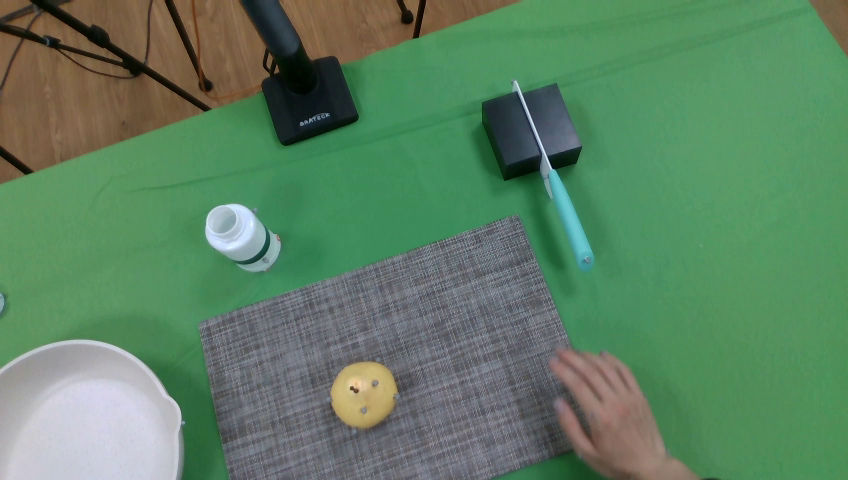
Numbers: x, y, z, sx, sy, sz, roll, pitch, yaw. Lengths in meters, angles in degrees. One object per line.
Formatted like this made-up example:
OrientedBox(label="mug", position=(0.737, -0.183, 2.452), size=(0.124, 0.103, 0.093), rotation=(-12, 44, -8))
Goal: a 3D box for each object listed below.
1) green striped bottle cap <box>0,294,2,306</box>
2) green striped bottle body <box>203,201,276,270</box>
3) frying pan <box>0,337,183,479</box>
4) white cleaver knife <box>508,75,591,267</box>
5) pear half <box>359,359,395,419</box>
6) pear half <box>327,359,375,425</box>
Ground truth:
OrientedBox(label="green striped bottle cap", position=(-0.604, 0.085, 0.828), size=(0.044, 0.020, 0.044), rotation=(-2, 72, 5))
OrientedBox(label="green striped bottle body", position=(-0.238, -0.007, 0.775), size=(0.063, 0.120, 0.063), rotation=(-1, 71, 5))
OrientedBox(label="frying pan", position=(-0.386, 0.350, 0.681), size=(0.307, 0.103, 0.483), rotation=(-23, 64, -2))
OrientedBox(label="white cleaver knife", position=(0.162, -0.095, 0.799), size=(0.021, 0.066, 0.284), rotation=(-18, 70, 6))
OrientedBox(label="pear half", position=(-0.051, 0.172, 0.715), size=(0.031, 0.088, 0.070), rotation=(-16, 67, 1))
OrientedBox(label="pear half", position=(-0.087, 0.177, 0.706), size=(0.056, 0.110, 0.075), rotation=(-15, 67, 1))
